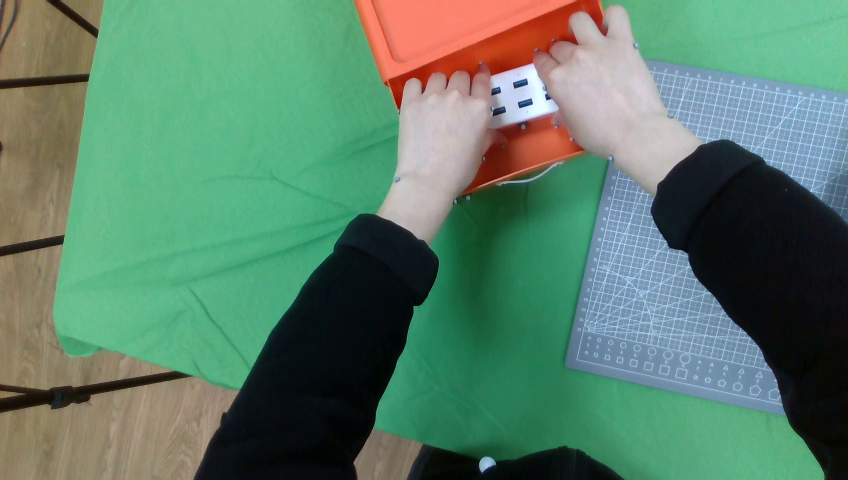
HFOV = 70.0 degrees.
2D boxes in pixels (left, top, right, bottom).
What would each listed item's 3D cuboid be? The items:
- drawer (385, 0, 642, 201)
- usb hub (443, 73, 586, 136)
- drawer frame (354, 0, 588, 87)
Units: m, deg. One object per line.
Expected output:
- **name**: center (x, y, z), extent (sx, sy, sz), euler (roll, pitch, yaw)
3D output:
- **drawer**: center (0.064, -0.162, 0.544), extent (0.194, 0.073, 0.211), euler (-19, 91, 9)
- **usb hub**: center (0.081, -0.124, 0.553), extent (0.125, 0.025, 0.049), euler (5, 95, 8)
- **drawer frame**: center (0.023, -0.272, 0.529), extent (0.201, 0.083, 0.213), euler (-21, 93, 10)
